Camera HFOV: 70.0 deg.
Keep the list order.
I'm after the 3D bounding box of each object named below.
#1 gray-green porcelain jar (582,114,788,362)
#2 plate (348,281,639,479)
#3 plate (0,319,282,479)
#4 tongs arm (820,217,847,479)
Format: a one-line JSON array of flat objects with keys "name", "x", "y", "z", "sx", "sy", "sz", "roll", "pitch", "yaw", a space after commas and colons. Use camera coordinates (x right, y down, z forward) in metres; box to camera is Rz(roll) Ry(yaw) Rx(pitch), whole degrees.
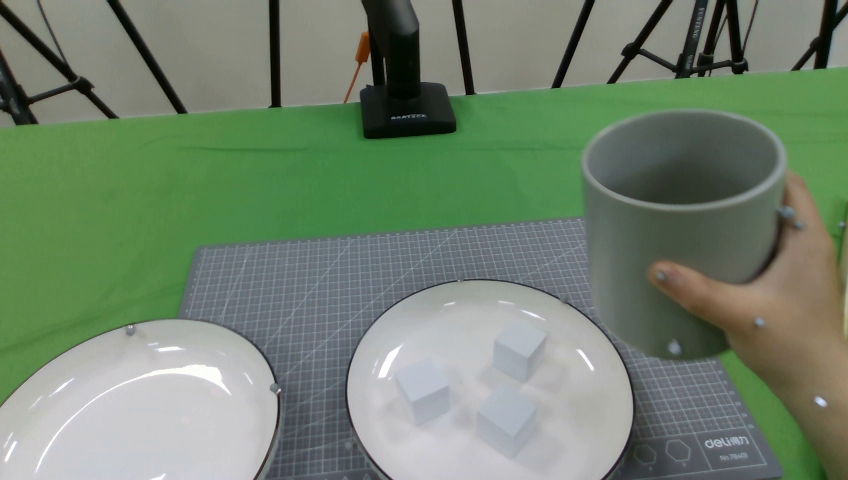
[{"name": "gray-green porcelain jar", "x": 0.154, "y": 0.003, "z": 0.371, "sx": 0.106, "sy": 0.128, "sz": 0.105, "roll": -10, "pitch": 37, "yaw": 8}, {"name": "plate", "x": 0.049, "y": 0.115, "z": 0.451, "sx": 0.208, "sy": 0.039, "sz": 0.205, "roll": 0, "pitch": 40, "yaw": 1}, {"name": "plate", "x": -0.201, "y": 0.143, "z": 0.422, "sx": 0.209, "sy": 0.038, "sz": 0.207, "roll": -1, "pitch": 41, "yaw": 2}, {"name": "tongs arm", "x": 0.370, "y": 0.060, "z": 0.522, "sx": 0.028, "sy": 0.028, "sz": 0.386, "roll": 22, "pitch": 46, "yaw": 21}]
